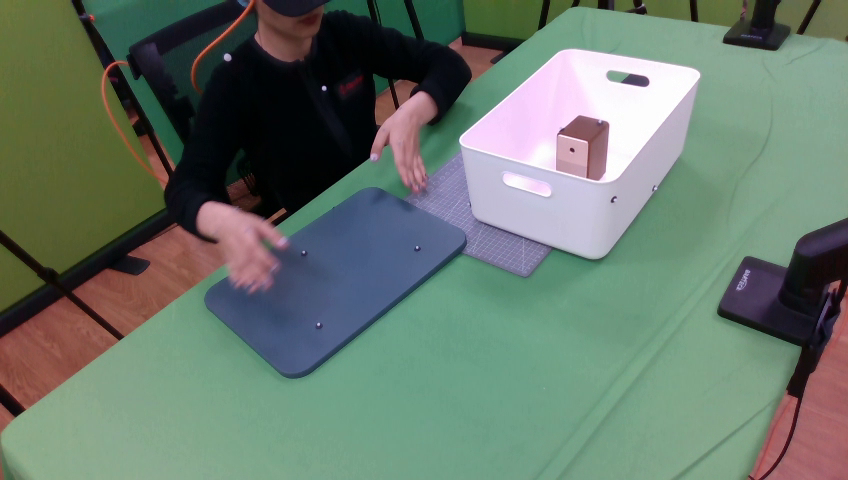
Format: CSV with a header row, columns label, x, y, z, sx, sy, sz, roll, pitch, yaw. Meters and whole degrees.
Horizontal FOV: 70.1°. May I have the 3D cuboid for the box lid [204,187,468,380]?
label,x,y,z,sx,sy,sz,roll,pitch,yaw
box lid,-0.135,0.044,0.963,0.261,0.015,0.373,29,53,36

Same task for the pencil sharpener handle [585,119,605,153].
label,x,y,z,sx,sy,sz,roll,pitch,yaw
pencil sharpener handle,0.301,-0.184,1.044,0.035,0.068,0.031,20,48,35

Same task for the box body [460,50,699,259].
label,x,y,z,sx,sy,sz,roll,pitch,yaw
box body,0.261,-0.153,1.001,0.252,0.161,0.365,21,48,31

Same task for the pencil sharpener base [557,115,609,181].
label,x,y,z,sx,sy,sz,roll,pitch,yaw
pencil sharpener base,0.270,-0.147,1.024,0.061,0.107,0.077,22,49,33
